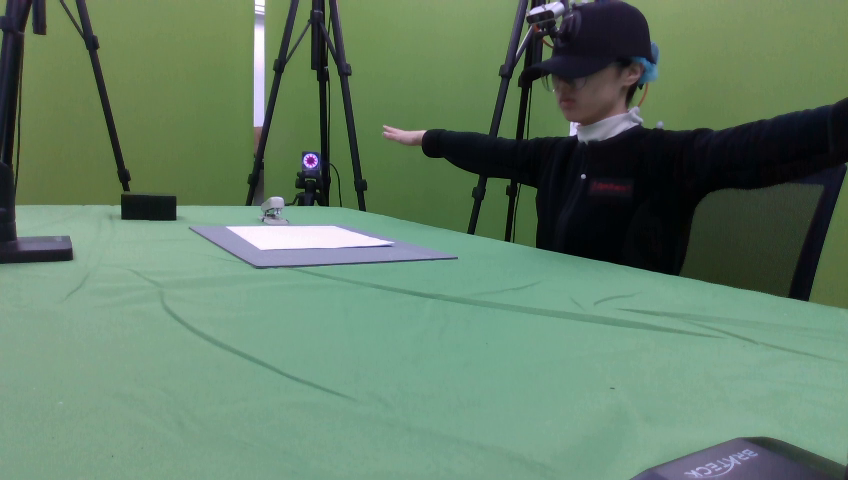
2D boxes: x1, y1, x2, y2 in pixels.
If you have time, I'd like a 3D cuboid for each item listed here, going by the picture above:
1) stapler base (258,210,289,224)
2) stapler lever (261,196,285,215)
[{"bbox_3d":[-0.323,-0.052,1.295,0.041,0.024,0.130,1,5,-27],"label":"stapler base"},{"bbox_3d":[-0.323,-0.076,1.293,0.027,0.040,0.117,1,6,-27],"label":"stapler lever"}]
